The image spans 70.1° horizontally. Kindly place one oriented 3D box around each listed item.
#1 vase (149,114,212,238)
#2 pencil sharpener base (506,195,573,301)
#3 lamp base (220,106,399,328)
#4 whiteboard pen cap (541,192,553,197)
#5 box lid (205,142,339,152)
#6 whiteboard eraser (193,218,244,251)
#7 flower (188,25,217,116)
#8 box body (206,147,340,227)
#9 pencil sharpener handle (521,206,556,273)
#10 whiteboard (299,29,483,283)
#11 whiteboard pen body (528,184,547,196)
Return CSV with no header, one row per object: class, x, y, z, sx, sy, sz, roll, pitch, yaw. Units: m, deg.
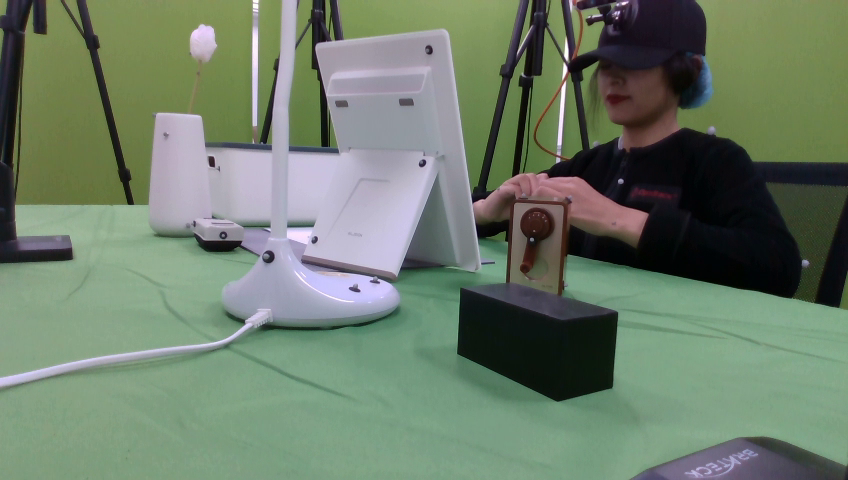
vase,-0.405,-0.106,1.005,0.098,0.200,0.098,2,6,0
pencil sharpener base,0.127,0.007,0.663,0.061,0.107,0.077,5,8,15
lamp base,-0.101,-0.023,0.531,0.160,0.180,0.179,4,10,10
whiteboard pen cap,0.201,-0.070,0.987,0.018,0.018,0.033,3,4,1
box lid,-0.270,-0.196,1.311,0.373,0.015,0.262,-2,9,-30
whiteboard eraser,-0.307,-0.010,0.900,0.056,0.042,0.112,-4,11,-28
flower,-0.394,-0.189,1.011,0.044,0.361,0.038,-1,-13,27
box body,-0.276,-0.122,1.320,0.366,0.160,0.253,-2,9,-30
pencil sharpener handle,0.111,0.000,0.613,0.036,0.067,0.031,13,10,14
whiteboard,-0.074,-0.082,0.742,0.216,0.305,0.144,9,29,38
whiteboard pen body,0.200,-0.082,1.046,0.017,0.017,0.140,2,12,-2
